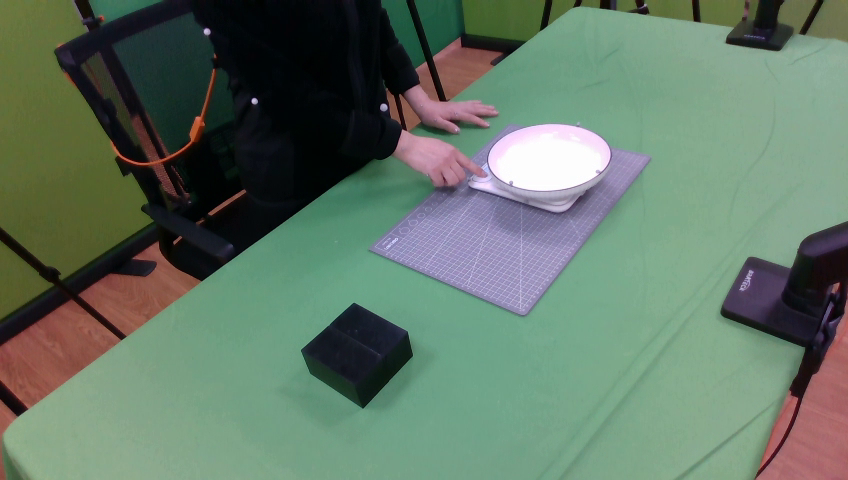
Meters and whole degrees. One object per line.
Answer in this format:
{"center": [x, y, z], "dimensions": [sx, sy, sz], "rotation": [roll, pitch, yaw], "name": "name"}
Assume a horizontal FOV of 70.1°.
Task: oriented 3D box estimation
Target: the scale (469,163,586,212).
{"center": [0.195, -0.117, 1.075], "dimensions": [0.199, 0.032, 0.149], "rotation": [21, 48, 32], "name": "scale"}

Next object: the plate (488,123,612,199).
{"center": [0.214, -0.132, 1.037], "dimensions": [0.209, 0.038, 0.208], "rotation": [-6, 41, 5], "name": "plate"}
